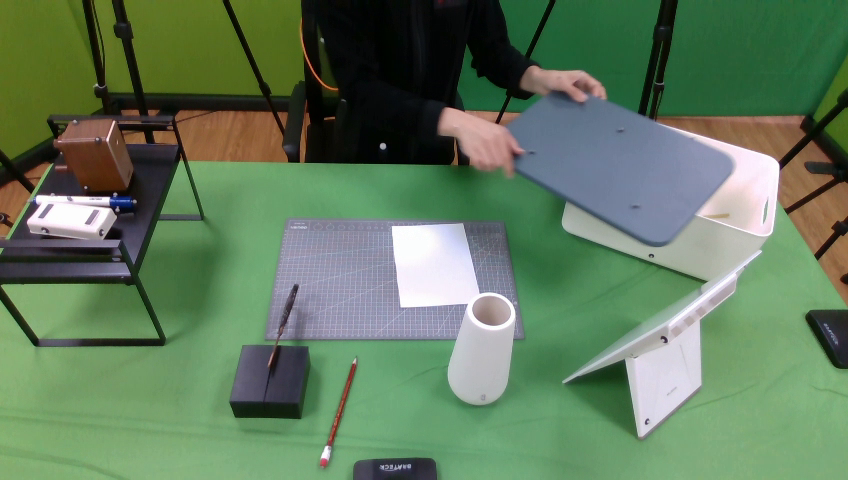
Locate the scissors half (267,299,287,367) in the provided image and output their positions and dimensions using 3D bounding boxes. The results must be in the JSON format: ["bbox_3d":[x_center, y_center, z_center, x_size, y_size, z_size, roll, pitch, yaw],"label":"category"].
[{"bbox_3d":[-0.239,0.150,0.997,0.013,0.040,0.174,24,24,-13],"label":"scissors half"}]

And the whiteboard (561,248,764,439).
[{"bbox_3d":[0.386,0.176,0.905,0.217,0.306,0.143,-26,72,-27],"label":"whiteboard"}]

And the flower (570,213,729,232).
[{"bbox_3d":[0.479,-0.041,1.269,0.362,0.038,0.044,-2,17,-12],"label":"flower"}]

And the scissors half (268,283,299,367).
[{"bbox_3d":[-0.230,0.135,0.986,0.013,0.040,0.174,19,43,-11],"label":"scissors half"}]

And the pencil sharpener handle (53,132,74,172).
[{"bbox_3d":[-0.578,-0.138,0.961,0.031,0.068,0.036,-4,34,-7],"label":"pencil sharpener handle"}]

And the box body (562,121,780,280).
[{"bbox_3d":[0.486,-0.089,1.222,0.363,0.161,0.253,20,48,15],"label":"box body"}]

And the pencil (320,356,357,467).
[{"bbox_3d":[-0.130,0.261,0.946,0.012,0.012,0.193,10,45,5],"label":"pencil"}]

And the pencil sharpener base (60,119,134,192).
[{"bbox_3d":[-0.528,-0.135,0.979,0.077,0.107,0.061,-4,47,-7],"label":"pencil sharpener base"}]

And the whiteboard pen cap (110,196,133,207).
[{"bbox_3d":[-0.486,-0.061,0.972,0.033,0.018,0.018,0,47,-9],"label":"whiteboard pen cap"}]

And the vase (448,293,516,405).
[{"bbox_3d":[0.091,0.169,0.921,0.098,0.201,0.097,3,47,-3],"label":"vase"}]

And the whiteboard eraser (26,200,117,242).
[{"bbox_3d":[-0.532,-0.026,0.919,0.113,0.042,0.055,7,45,3],"label":"whiteboard eraser"}]

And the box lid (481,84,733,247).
[{"bbox_3d":[0.313,-0.145,1.052,0.369,0.015,0.263,34,59,28],"label":"box lid"}]

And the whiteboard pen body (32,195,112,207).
[{"bbox_3d":[-0.543,-0.061,0.961,0.141,0.017,0.017,1,46,-10],"label":"whiteboard pen body"}]
